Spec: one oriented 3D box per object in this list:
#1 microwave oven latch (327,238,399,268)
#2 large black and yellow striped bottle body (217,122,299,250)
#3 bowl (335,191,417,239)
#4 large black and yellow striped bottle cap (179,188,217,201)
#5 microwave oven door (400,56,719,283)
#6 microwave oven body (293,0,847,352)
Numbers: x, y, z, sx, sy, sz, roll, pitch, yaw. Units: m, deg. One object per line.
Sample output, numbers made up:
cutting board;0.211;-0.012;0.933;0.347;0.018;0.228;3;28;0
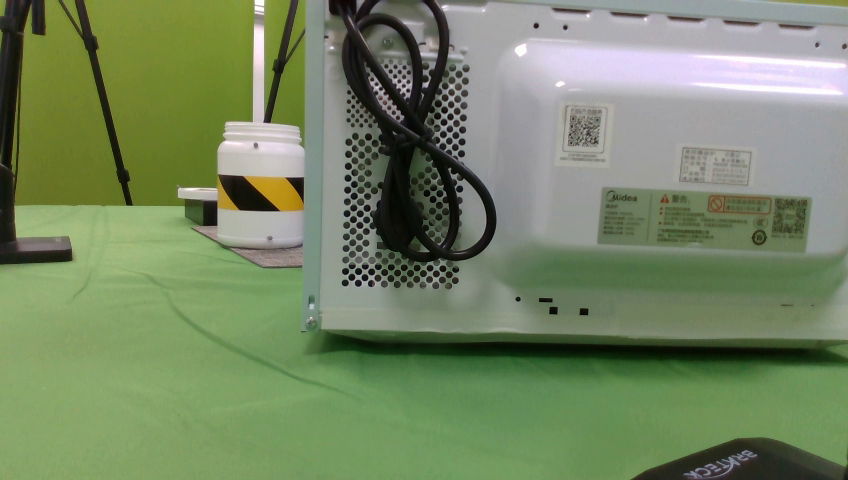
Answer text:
microwave oven latch;-0.070;0.015;0.694;0.079;0.029;0.030;3;7;-2
large black and yellow striped bottle body;-0.250;-0.084;0.930;0.131;0.184;0.130;3;7;0
bowl;-0.089;-0.046;1.111;0.151;0.077;0.151;3;8;0
large black and yellow striped bottle cap;-0.434;-0.093;1.226;0.115;0.019;0.115;3;9;0
microwave oven door;0.155;-0.077;0.698;0.356;0.243;0.039;2;8;-5
microwave oven body;0.122;-0.055;0.550;0.442;0.260;0.325;3;7;-5
